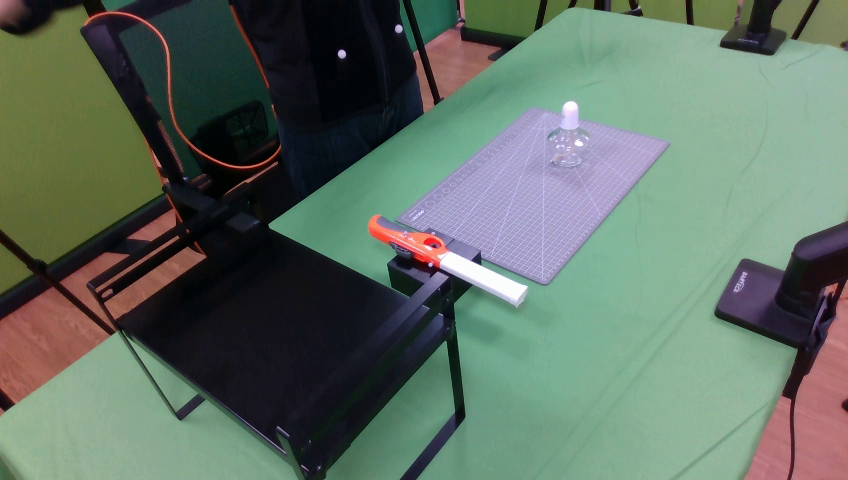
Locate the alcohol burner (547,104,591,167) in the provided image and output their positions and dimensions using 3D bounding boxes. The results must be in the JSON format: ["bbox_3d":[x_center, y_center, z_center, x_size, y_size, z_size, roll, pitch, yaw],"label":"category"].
[{"bbox_3d":[0.261,-0.192,1.087,0.078,0.119,0.077,-5,42,5],"label":"alcohol burner"}]

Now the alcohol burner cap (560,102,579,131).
[{"bbox_3d":[0.256,-0.219,1.064,0.034,0.048,0.033,-5,34,4],"label":"alcohol burner cap"}]

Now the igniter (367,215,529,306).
[{"bbox_3d":[0.024,0.024,0.868,0.274,0.025,0.057,25,49,28],"label":"igniter"}]
